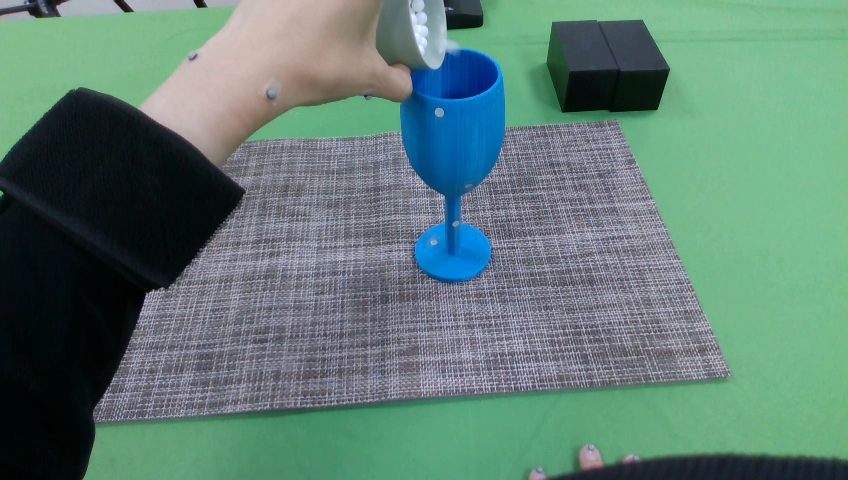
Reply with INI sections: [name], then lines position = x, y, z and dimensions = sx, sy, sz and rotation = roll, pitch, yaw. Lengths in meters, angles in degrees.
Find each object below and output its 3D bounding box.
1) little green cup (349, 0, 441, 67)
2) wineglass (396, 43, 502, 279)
[little green cup]
position = -0.017, -0.135, 0.370
dimensions = 0.038, 0.062, 0.061
rotation = 0, 46, 21
[wineglass]
position = 0.019, -0.050, 0.446
dimensions = 0.074, 0.174, 0.073
rotation = -1, 48, 2
